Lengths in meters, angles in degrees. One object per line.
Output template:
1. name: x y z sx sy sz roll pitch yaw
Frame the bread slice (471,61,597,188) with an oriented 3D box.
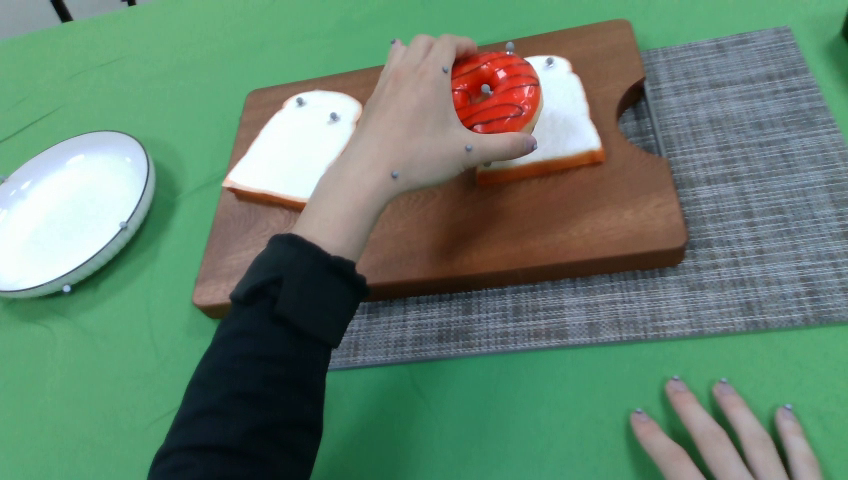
1. bread slice: 0.086 -0.107 0.533 0.105 0.019 0.130 -10 55 8

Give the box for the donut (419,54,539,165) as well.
1. donut: 0.042 -0.103 0.478 0.099 0.049 0.098 -12 58 20

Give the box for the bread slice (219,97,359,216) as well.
1. bread slice: -0.121 -0.083 0.577 0.106 0.018 0.133 9 60 22

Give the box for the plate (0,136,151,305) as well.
1. plate: -0.376 -0.020 0.632 0.209 0.038 0.207 -8 54 12
